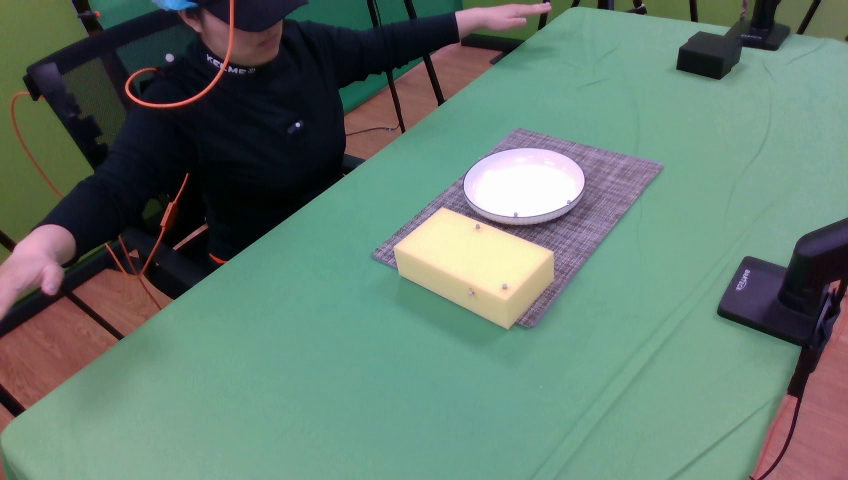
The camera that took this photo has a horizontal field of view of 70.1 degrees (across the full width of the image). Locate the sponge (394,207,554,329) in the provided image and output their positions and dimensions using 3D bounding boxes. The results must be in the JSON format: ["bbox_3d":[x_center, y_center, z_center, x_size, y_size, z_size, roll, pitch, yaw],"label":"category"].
[{"bbox_3d":[0.073,0.035,0.895,0.205,0.061,0.118,24,50,33],"label":"sponge"}]

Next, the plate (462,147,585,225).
[{"bbox_3d":[0.170,-0.089,1.041,0.207,0.039,0.206,-5,40,5],"label":"plate"}]
